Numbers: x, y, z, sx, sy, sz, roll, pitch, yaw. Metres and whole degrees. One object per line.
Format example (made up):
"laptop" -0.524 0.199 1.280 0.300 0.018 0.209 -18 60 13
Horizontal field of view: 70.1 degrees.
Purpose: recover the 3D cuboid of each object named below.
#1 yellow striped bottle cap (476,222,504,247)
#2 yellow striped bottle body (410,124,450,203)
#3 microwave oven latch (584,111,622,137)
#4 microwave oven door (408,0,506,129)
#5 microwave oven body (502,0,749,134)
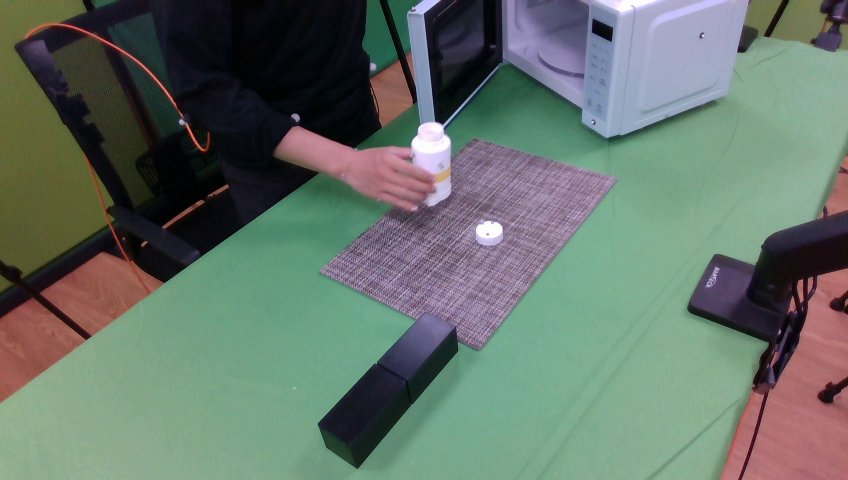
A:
"yellow striped bottle cap" 0.105 -0.010 0.966 0.044 0.019 0.044 -4 39 4
"yellow striped bottle body" 0.011 -0.124 0.963 0.063 0.121 0.062 -1 40 1
"microwave oven latch" 0.337 -0.222 1.142 0.030 0.029 0.078 -21 42 -14
"microwave oven door" 0.081 -0.416 1.241 0.039 0.245 0.356 15 47 25
"microwave oven body" 0.381 -0.444 1.246 0.327 0.261 0.437 -22 42 -16
